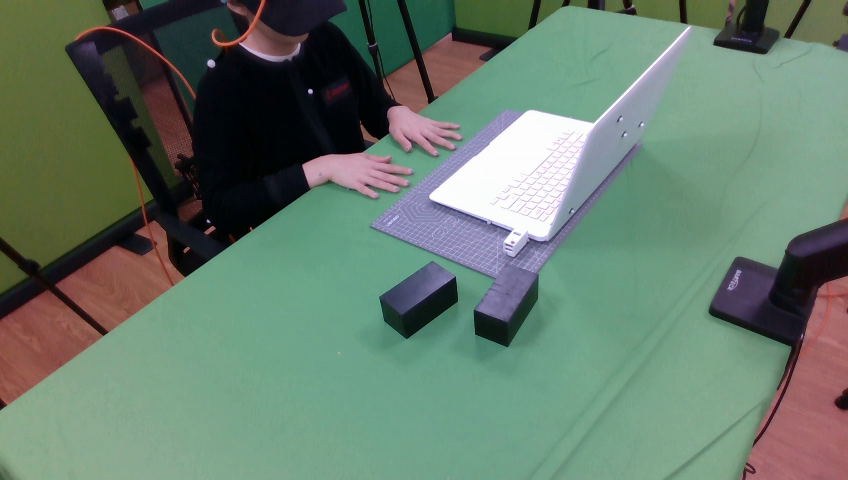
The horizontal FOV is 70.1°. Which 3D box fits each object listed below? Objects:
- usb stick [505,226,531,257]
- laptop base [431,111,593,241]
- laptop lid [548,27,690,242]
[{"bbox_3d":[0.150,-0.002,0.940,0.021,0.027,0.059,22,46,31],"label":"usb stick"},{"bbox_3d":[0.207,-0.129,1.100,0.233,0.023,0.355,20,47,33],"label":"laptop base"},{"bbox_3d":[0.310,-0.168,0.950,0.013,0.242,0.358,33,52,20],"label":"laptop lid"}]
